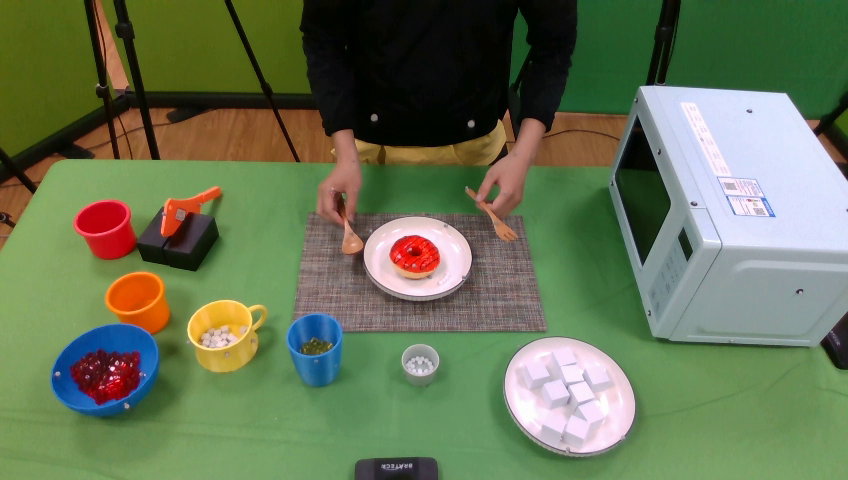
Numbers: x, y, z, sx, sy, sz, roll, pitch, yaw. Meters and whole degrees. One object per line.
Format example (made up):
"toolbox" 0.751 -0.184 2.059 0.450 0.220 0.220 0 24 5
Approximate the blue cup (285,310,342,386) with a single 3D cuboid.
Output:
"blue cup" -0.170 0.179 0.958 0.093 0.101 0.092 2 44 -1

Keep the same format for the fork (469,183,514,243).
"fork" 0.125 -0.057 1.140 0.018 0.028 0.206 -14 37 -16

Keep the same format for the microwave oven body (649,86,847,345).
"microwave oven body" 0.568 -0.053 1.118 0.326 0.261 0.439 2 45 -1

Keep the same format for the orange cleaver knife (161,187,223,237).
"orange cleaver knife" -0.448 -0.058 1.181 0.012 0.077 0.211 13 17 6

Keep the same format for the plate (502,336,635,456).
"plate" 0.225 0.248 0.963 0.208 0.039 0.206 2 46 -2

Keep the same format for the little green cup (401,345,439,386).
"little green cup" -0.007 0.206 0.988 0.061 0.039 0.061 2 46 -2

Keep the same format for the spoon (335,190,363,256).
"spoon" -0.152 -0.038 1.180 0.041 0.022 0.192 -23 50 3

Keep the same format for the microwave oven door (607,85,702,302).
"microwave oven door" 0.424 -0.094 1.141 0.039 0.245 0.353 2 46 -1

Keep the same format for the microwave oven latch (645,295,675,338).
"microwave oven latch" 0.412 0.134 1.061 0.030 0.029 0.078 3 45 0

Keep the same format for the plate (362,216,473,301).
"plate" -0.012 0.038 1.144 0.209 0.038 0.208 2 46 -2

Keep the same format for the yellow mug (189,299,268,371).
"yellow mug" -0.316 0.148 1.002 0.131 0.064 0.099 -32 56 -31

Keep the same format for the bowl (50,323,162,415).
"bowl" -0.472 0.209 0.924 0.151 0.077 0.150 3 45 -2

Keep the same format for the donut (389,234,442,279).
"donut" -0.016 0.031 1.135 0.099 0.048 0.098 4 44 -3
